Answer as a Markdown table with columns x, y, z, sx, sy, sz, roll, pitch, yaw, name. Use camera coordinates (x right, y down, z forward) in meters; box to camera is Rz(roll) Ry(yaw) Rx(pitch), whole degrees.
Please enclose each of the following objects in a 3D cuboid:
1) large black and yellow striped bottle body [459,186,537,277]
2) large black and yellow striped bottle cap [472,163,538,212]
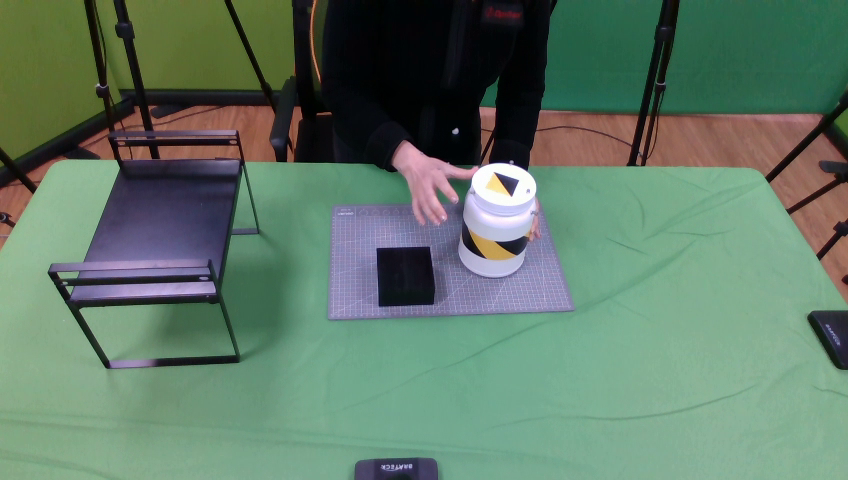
| x | y | z | sx | sy | sz | roll | pitch | yaw | name |
| --- | --- | --- | --- | --- | --- | --- | --- | --- | --- |
| 0.136 | -0.035 | 1.122 | 0.131 | 0.185 | 0.130 | 2 | 46 | -2 | large black and yellow striped bottle body |
| 0.141 | -0.094 | 1.061 | 0.115 | 0.019 | 0.114 | 1 | 46 | -1 | large black and yellow striped bottle cap |
